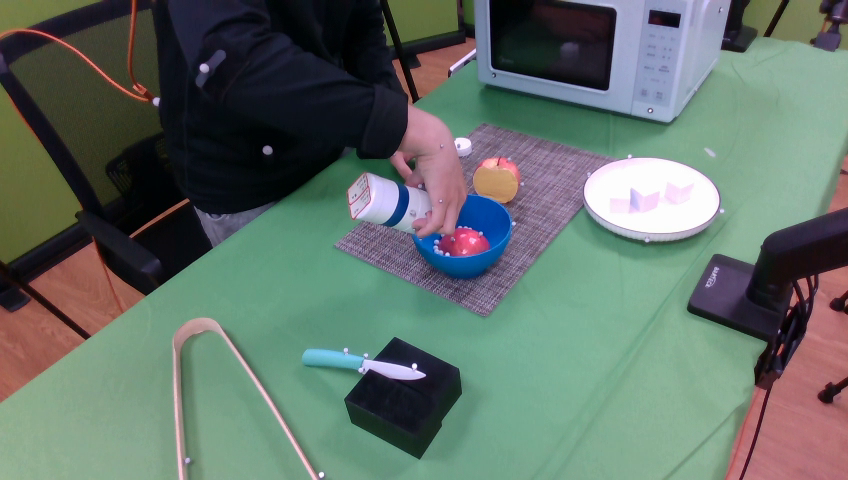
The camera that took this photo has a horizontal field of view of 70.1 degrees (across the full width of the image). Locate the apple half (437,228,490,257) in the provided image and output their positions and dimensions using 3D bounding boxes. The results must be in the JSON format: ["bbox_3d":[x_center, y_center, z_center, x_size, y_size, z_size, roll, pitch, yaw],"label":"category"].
[{"bbox_3d":[0.056,0.002,0.901,0.081,0.033,0.081,-3,41,3],"label":"apple half"}]

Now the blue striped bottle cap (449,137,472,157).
[{"bbox_3d":[0.071,-0.180,1.168,0.044,0.021,0.044,-4,42,4],"label":"blue striped bottle cap"}]

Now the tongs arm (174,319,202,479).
[{"bbox_3d":[-0.272,0.234,0.723,0.051,0.026,0.381,-18,40,-15],"label":"tongs arm"}]

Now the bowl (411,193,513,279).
[{"bbox_3d":[0.058,0.005,0.905,0.151,0.077,0.150,-4,40,4],"label":"bowl"}]

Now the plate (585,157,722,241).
[{"bbox_3d":[0.367,-0.063,0.979,0.207,0.039,0.206,-4,40,4],"label":"plate"}]

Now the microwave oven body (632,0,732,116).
[{"bbox_3d":[0.377,-0.463,1.267,0.438,0.261,0.327,21,49,30],"label":"microwave oven body"}]

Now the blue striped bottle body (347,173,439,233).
[{"bbox_3d":[-0.037,-0.046,0.816,0.122,0.063,0.062,13,27,-36],"label":"blue striped bottle body"}]

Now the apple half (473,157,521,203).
[{"bbox_3d":[0.128,-0.107,1.030,0.080,0.075,0.053,5,38,20],"label":"apple half"}]

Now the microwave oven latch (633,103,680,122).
[{"bbox_3d":[0.444,-0.249,1.158,0.078,0.029,0.030,21,49,30],"label":"microwave oven latch"}]

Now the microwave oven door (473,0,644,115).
[{"bbox_3d":[0.257,-0.396,1.199,0.353,0.245,0.039,21,48,29],"label":"microwave oven door"}]

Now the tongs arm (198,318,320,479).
[{"bbox_3d":[-0.199,0.208,0.751,0.028,0.028,0.384,-31,45,-22],"label":"tongs arm"}]

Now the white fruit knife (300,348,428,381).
[{"bbox_3d":[-0.079,0.154,0.748,0.206,0.027,0.016,1,21,35],"label":"white fruit knife"}]
